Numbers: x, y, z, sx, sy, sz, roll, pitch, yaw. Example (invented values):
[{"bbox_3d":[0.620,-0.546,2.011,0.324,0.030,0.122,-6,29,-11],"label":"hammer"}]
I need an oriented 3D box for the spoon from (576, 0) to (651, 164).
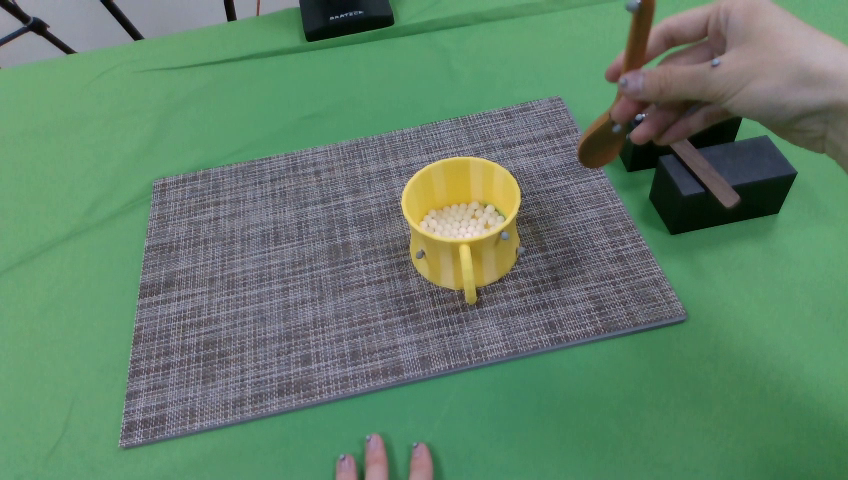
[{"bbox_3d":[0.129,-0.100,0.404,0.041,0.195,0.021,-20,72,1],"label":"spoon"}]

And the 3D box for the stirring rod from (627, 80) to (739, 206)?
[{"bbox_3d":[0.219,-0.093,0.535,0.014,0.006,0.174,-40,48,21],"label":"stirring rod"}]

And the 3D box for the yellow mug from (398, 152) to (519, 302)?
[{"bbox_3d":[0.032,-0.008,0.513,0.100,0.064,0.129,-6,51,3],"label":"yellow mug"}]
